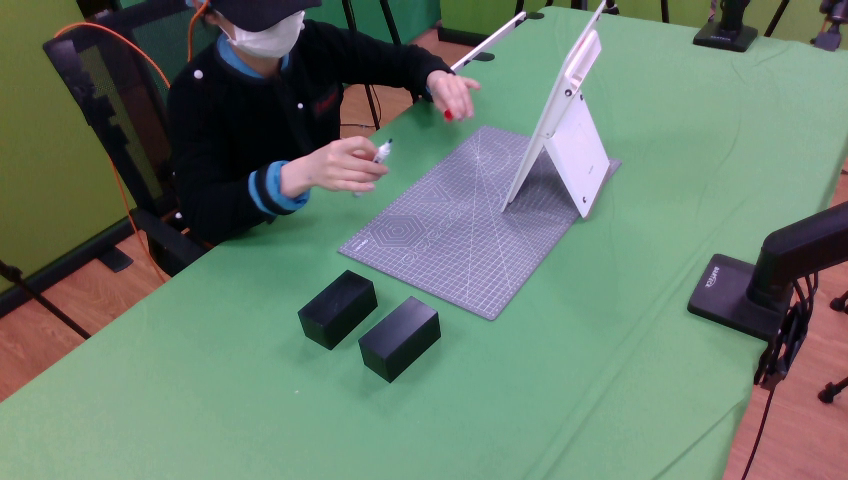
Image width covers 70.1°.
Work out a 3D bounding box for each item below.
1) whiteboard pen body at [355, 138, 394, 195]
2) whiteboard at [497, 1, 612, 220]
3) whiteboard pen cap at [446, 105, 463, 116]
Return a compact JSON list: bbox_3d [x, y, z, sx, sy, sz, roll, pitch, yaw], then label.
[{"bbox_3d":[-0.074,-0.110,0.908,0.017,0.140,0.017,15,54,-22],"label":"whiteboard pen body"},{"bbox_3d":[0.260,-0.178,0.963,0.143,0.306,0.217,28,49,9],"label":"whiteboard"},{"bbox_3d":[0.053,-0.229,1.072,0.017,0.017,0.032,26,35,33],"label":"whiteboard pen cap"}]
